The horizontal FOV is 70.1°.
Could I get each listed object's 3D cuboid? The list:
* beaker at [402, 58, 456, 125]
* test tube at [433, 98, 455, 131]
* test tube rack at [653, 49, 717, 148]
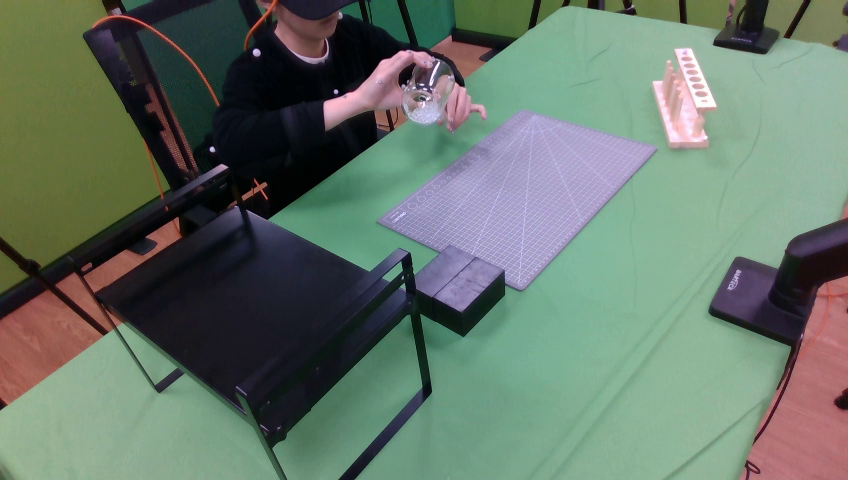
[{"bbox_3d":[0.008,-0.237,0.982,0.074,0.084,0.100,1,40,15],"label":"beaker"},{"bbox_3d":[0.039,-0.228,1.111,0.017,0.151,0.017,-1,82,12],"label":"test tube"},{"bbox_3d":[0.502,-0.281,1.177,0.066,0.085,0.241,1,41,11],"label":"test tube rack"}]
